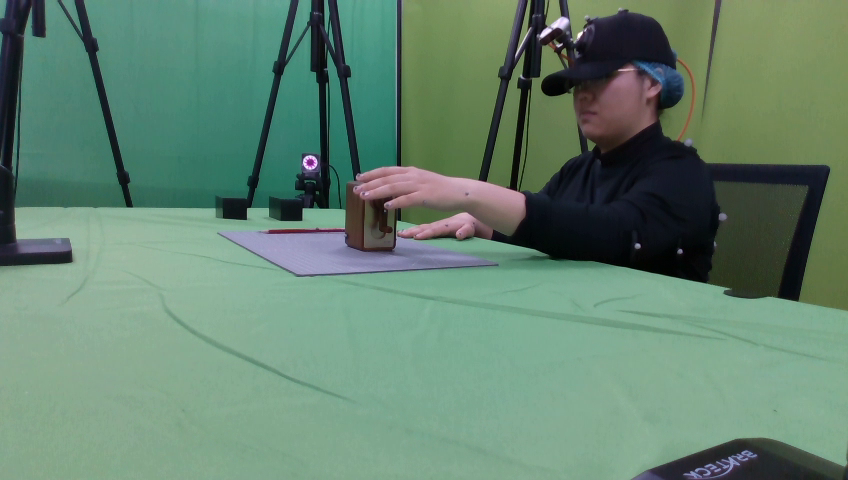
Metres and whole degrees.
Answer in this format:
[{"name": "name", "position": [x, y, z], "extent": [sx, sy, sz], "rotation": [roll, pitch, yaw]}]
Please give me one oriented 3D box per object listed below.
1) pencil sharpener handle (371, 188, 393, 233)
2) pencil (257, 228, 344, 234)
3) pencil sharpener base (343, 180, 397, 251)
[{"name": "pencil sharpener handle", "position": [-0.057, -0.044, 0.913], "extent": [0.036, 0.067, 0.030], "rotation": [-5, 11, -30]}, {"name": "pencil", "position": [-0.213, -0.017, 1.131], "extent": [0.195, 0.012, 0.012], "rotation": [-2, 9, -26]}, {"name": "pencil sharpener base", "position": [-0.085, -0.039, 0.958], "extent": [0.062, 0.107, 0.076], "rotation": [-1, 9, -31]}]
